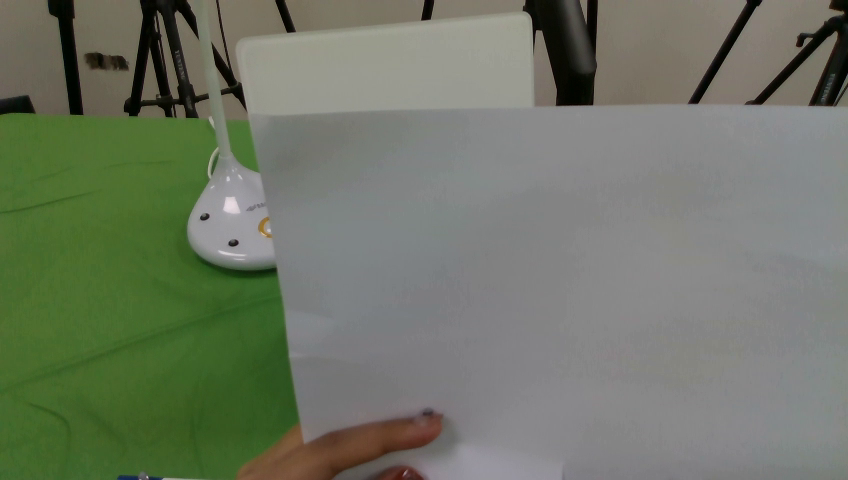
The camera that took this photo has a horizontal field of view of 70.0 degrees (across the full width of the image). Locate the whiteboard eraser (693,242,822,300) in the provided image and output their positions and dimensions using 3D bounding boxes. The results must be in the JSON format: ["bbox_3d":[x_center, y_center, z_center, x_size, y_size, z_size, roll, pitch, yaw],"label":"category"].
[{"bbox_3d":[0.346,0.033,0.632,0.113,0.042,0.055,-4,40,-7],"label":"whiteboard eraser"}]

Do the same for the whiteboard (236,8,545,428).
[{"bbox_3d":[-0.026,-0.030,0.534,0.218,0.307,0.142,-11,21,-15],"label":"whiteboard"}]

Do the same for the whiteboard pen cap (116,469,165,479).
[{"bbox_3d":[-0.203,0.175,0.439,0.033,0.018,0.018,3,38,-3],"label":"whiteboard pen cap"}]

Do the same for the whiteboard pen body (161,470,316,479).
[{"bbox_3d":[-0.144,0.178,0.440,0.141,0.017,0.017,4,38,-1],"label":"whiteboard pen body"}]

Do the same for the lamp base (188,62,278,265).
[{"bbox_3d":[-0.195,-0.091,0.659,0.177,0.182,0.160,29,45,34],"label":"lamp base"}]
